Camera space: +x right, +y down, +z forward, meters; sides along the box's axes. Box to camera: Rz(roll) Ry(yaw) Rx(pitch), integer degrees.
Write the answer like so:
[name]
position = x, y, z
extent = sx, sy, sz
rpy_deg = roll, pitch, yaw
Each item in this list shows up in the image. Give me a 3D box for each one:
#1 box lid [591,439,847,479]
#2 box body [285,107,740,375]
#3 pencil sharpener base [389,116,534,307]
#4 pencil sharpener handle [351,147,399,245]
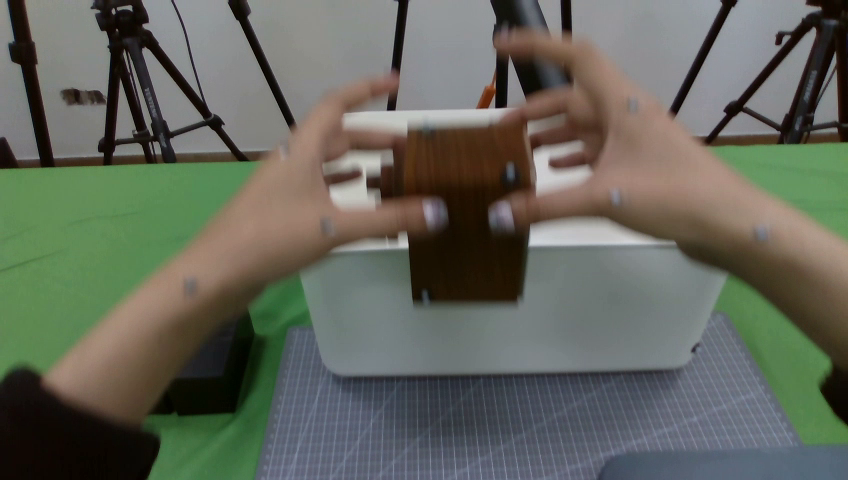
[box lid]
position = 0.314, 0.246, 0.394
extent = 0.372, 0.015, 0.260
rpy_deg = -2, 37, -2
[box body]
position = 0.072, -0.006, 0.607
extent = 0.364, 0.162, 0.251
rpy_deg = -2, 36, 0
[pencil sharpener base]
position = 0.021, -0.014, 0.364
extent = 0.077, 0.108, 0.061
rpy_deg = -1, 42, 2
[pencil sharpener handle]
position = -0.031, -0.023, 0.356
extent = 0.030, 0.068, 0.035
rpy_deg = -1, 43, 2
